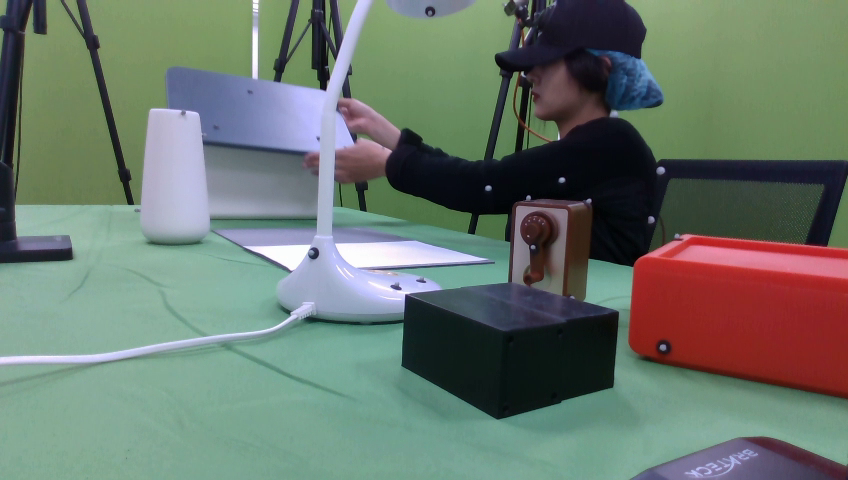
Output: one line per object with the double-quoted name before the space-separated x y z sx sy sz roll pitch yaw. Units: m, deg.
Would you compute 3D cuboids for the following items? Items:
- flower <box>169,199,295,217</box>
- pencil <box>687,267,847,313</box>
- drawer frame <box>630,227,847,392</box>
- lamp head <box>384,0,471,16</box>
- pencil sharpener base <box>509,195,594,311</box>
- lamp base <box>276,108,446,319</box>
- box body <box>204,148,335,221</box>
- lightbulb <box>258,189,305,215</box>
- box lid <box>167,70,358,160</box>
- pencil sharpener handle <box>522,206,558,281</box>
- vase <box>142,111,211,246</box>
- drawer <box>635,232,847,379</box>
"flower" -0.424 -0.070 1.399 0.044 0.038 0.363 -1 1 30
"pencil" 0.308 0.044 0.515 0.194 0.012 0.012 13 5 -12
"drawer frame" 0.292 0.043 0.484 0.201 0.082 0.214 7 9 29
"lamp head" -0.001 -0.301 0.599 0.112 0.112 0.123 4 -30 14
"pencil sharpener base" 0.126 0.011 0.601 0.061 0.107 0.077 7 9 30
"lamp base" -0.061 -0.027 0.556 0.160 0.180 0.180 4 10 20
"box body" -0.411 -0.135 1.386 0.366 0.160 0.253 -2 9 -29
"lightbulb" -0.325 -0.081 1.382 0.108 0.059 0.059 -14 9 -5
"box lid" -0.335 -0.261 1.272 0.373 0.015 0.262 1 43 -28
"pencil sharpener handle" 0.102 0.003 0.555 0.036 0.067 0.031 0 5 31
"vase" -0.378 -0.093 0.920 0.098 0.200 0.098 2 9 0
"drawer" 0.292 0.045 0.488 0.193 0.073 0.213 7 9 30
